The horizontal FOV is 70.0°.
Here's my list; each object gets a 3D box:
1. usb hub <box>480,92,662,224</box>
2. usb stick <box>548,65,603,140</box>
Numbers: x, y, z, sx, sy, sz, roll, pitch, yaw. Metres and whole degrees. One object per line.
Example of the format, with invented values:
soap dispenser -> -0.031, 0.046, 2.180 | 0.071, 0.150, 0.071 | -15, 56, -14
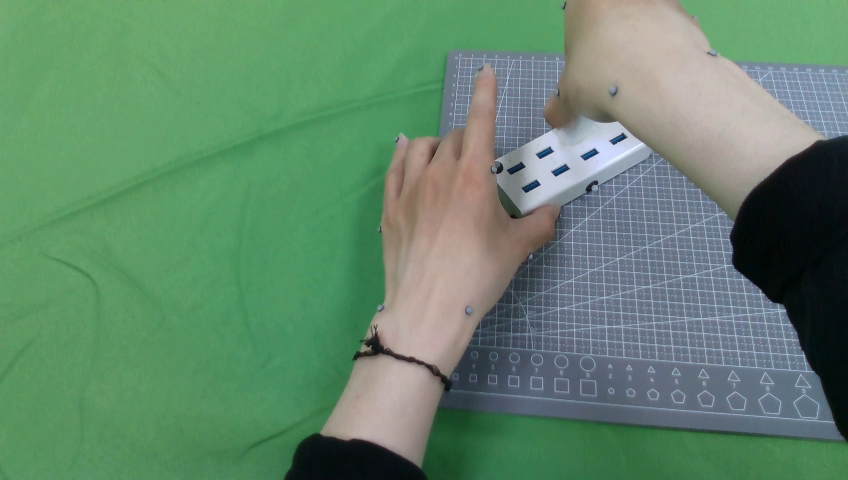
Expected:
usb hub -> 0.106, -0.062, 0.437 | 0.125, 0.025, 0.049 | -27, 64, -13
usb stick -> 0.103, -0.090, 0.420 | 0.021, 0.059, 0.027 | -30, 64, -13
